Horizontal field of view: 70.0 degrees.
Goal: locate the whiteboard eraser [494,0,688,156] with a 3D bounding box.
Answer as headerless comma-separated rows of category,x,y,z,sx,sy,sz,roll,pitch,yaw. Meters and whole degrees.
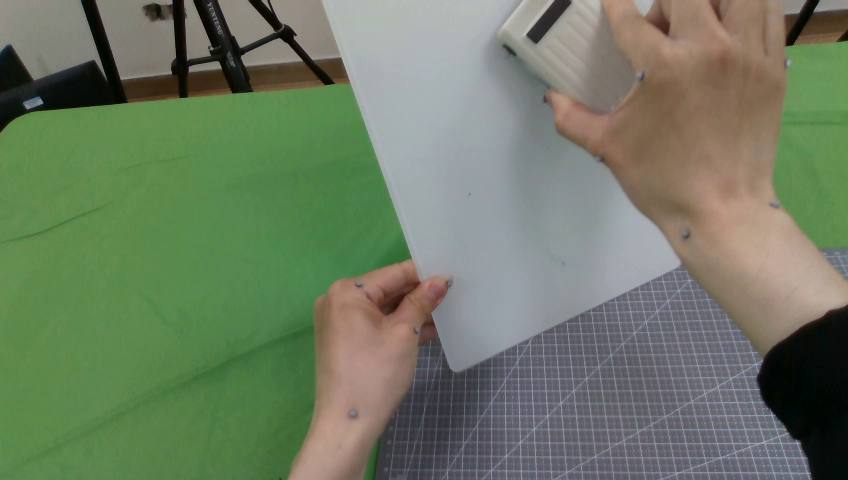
whiteboard eraser,0.102,-0.107,0.375,0.113,0.056,0.041,39,19,-5

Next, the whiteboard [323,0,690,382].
whiteboard,0.059,-0.087,0.476,0.217,0.308,0.142,-23,26,-10
